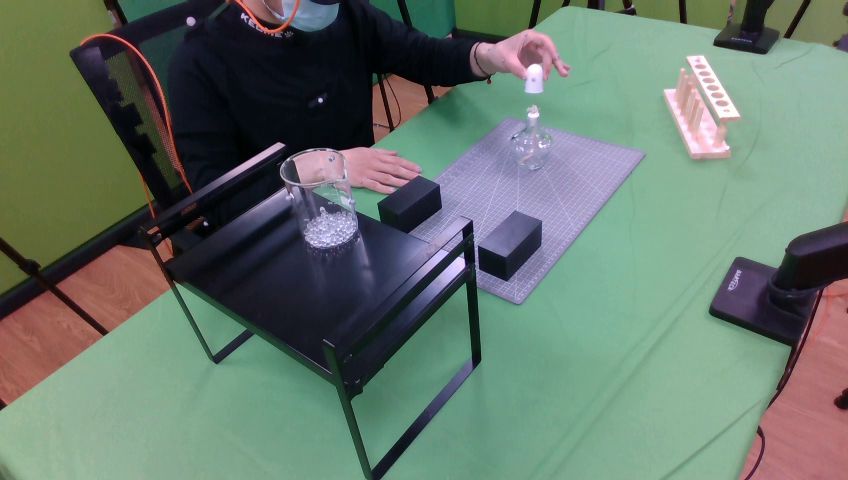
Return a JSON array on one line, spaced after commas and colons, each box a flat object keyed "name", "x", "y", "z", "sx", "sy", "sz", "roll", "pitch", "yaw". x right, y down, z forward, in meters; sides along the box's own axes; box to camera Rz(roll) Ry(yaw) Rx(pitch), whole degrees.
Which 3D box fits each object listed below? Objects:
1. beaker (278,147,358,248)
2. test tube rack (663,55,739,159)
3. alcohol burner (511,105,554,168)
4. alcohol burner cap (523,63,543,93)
[{"name": "beaker", "x": -0.117, "y": -0.046, "z": 0.705, "sx": 0.083, "sy": 0.101, "sz": 0.074, "roll": 17, "pitch": 47, "yaw": 25}, {"name": "test tube rack", "x": 0.518, "y": -0.256, "z": 1.144, "sx": 0.066, "sy": 0.085, "sz": 0.241, "roll": -1, "pitch": 41, "yaw": 8}, {"name": "alcohol burner", "x": 0.195, "y": -0.190, "z": 1.088, "sx": 0.078, "sy": 0.119, "sz": 0.077, "roll": -3, "pitch": 42, "yaw": 3}, {"name": "alcohol burner cap", "x": 0.188, "y": -0.277, "z": 1.033, "sx": 0.034, "sy": 0.048, "sz": 0.033, "roll": 1, "pitch": 29, "yaw": 0}]
